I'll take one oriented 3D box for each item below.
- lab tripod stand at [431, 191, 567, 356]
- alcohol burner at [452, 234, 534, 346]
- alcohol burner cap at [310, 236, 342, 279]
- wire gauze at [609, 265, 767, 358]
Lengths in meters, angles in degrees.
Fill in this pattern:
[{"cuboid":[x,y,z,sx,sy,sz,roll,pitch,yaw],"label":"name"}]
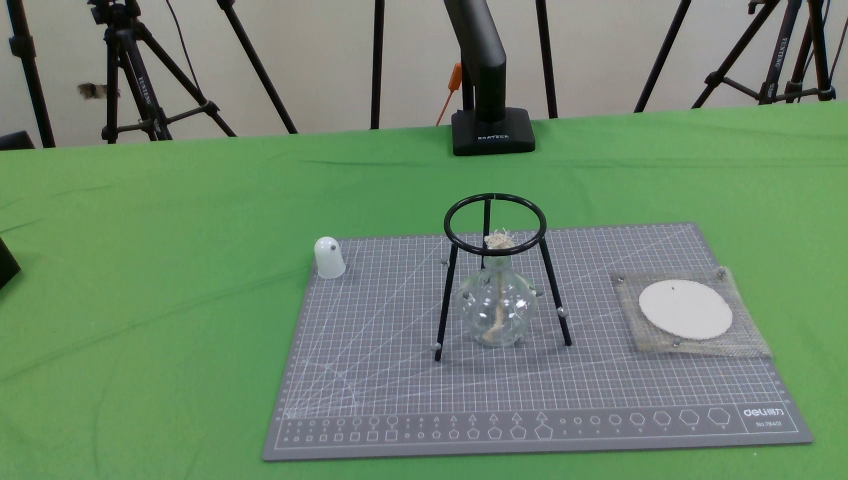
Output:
[{"cuboid":[0.066,0.032,0.565,0.148,0.132,0.147,-2,37,2],"label":"lab tripod stand"},{"cuboid":[0.065,0.042,0.569,0.078,0.120,0.077,-1,38,1],"label":"alcohol burner"},{"cuboid":[-0.111,0.017,0.678,0.034,0.048,0.033,-2,39,2],"label":"alcohol burner cap"},{"cuboid":[0.257,0.067,0.602,0.125,0.011,0.120,1,39,4],"label":"wire gauze"}]
